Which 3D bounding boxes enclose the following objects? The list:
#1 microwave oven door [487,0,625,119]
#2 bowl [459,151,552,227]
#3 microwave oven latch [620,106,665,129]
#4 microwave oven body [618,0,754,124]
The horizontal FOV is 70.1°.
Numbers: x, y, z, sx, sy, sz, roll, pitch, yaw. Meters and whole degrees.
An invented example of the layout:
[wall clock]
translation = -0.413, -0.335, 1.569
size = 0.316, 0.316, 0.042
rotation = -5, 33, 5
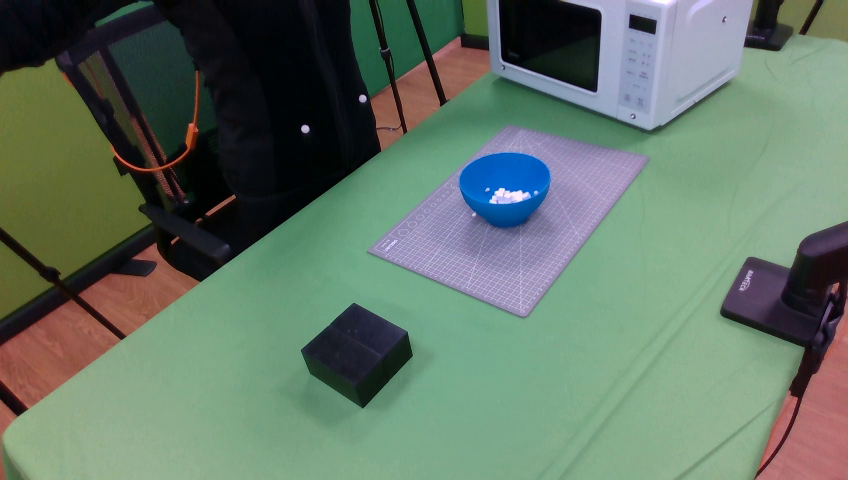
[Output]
[microwave oven door]
translation = 0.262, -0.409, 1.221
size = 0.039, 0.245, 0.352
rotation = -33, 45, -25
[bowl]
translation = 0.136, -0.074, 1.000
size = 0.151, 0.077, 0.150
rotation = -5, 40, 5
[microwave oven latch]
translation = 0.412, -0.237, 1.146
size = 0.030, 0.029, 0.078
rotation = -32, 44, -23
[microwave oven body]
translation = 0.402, -0.458, 1.259
size = 0.327, 0.261, 0.437
rotation = -33, 44, -24
